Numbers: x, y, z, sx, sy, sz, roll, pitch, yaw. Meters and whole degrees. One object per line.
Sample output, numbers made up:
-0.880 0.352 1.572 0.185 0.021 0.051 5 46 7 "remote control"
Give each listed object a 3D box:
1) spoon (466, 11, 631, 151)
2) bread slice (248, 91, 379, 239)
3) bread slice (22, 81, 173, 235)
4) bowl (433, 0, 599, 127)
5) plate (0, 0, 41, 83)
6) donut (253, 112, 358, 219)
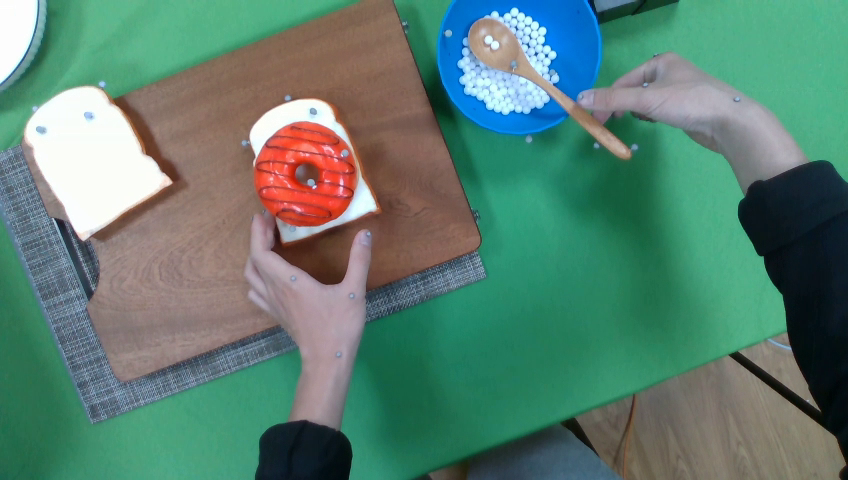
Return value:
0.113 -0.145 0.556 0.041 0.022 0.192 -45 74 -1 "spoon"
-0.116 -0.077 0.596 0.105 0.019 0.132 -22 95 1 "bread slice"
-0.327 -0.085 0.595 0.107 0.018 0.134 -35 92 2 "bread slice"
0.084 -0.180 0.585 0.151 0.076 0.151 0 94 0 "bowl"
-0.483 -0.242 0.606 0.208 0.039 0.208 0 94 1 "plate"
-0.111 -0.068 0.566 0.099 0.048 0.099 0 95 0 "donut"
